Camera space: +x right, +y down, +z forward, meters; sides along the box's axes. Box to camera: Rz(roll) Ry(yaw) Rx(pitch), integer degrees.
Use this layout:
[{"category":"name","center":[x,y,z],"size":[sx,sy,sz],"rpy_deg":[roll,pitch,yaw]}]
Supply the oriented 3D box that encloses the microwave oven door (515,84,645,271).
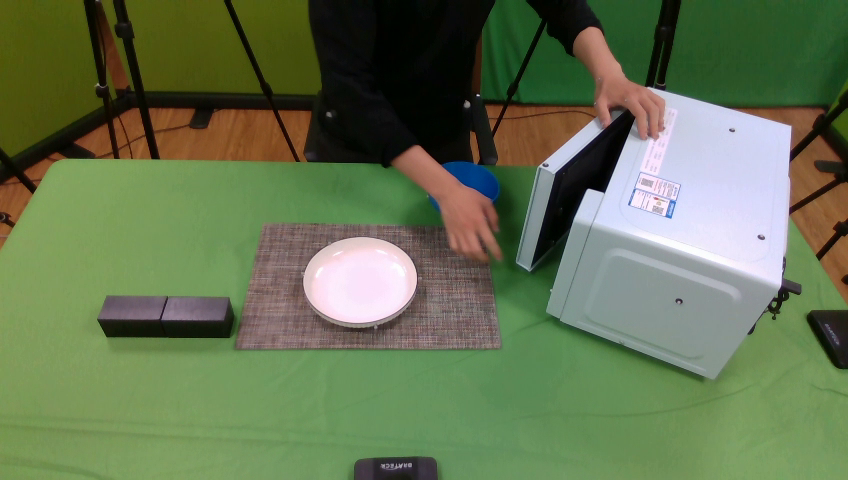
[{"category":"microwave oven door","center":[0.305,-0.125,1.164],"size":[0.039,0.245,0.355],"rpy_deg":[33,52,25]}]

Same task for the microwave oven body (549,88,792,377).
[{"category":"microwave oven body","center":[0.456,-0.028,1.088],"size":[0.325,0.261,0.440],"rpy_deg":[20,47,16]}]

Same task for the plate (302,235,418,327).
[{"category":"plate","center":[-0.114,0.077,1.098],"size":[0.208,0.039,0.206],"rpy_deg":[2,46,-2]}]

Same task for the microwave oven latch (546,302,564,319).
[{"category":"microwave oven latch","center":[0.242,0.102,1.081],"size":[0.030,0.029,0.079],"rpy_deg":[22,48,17]}]

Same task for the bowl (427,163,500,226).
[{"category":"bowl","center":[0.076,-0.082,1.247],"size":[0.151,0.077,0.150],"rpy_deg":[4,44,-4]}]
